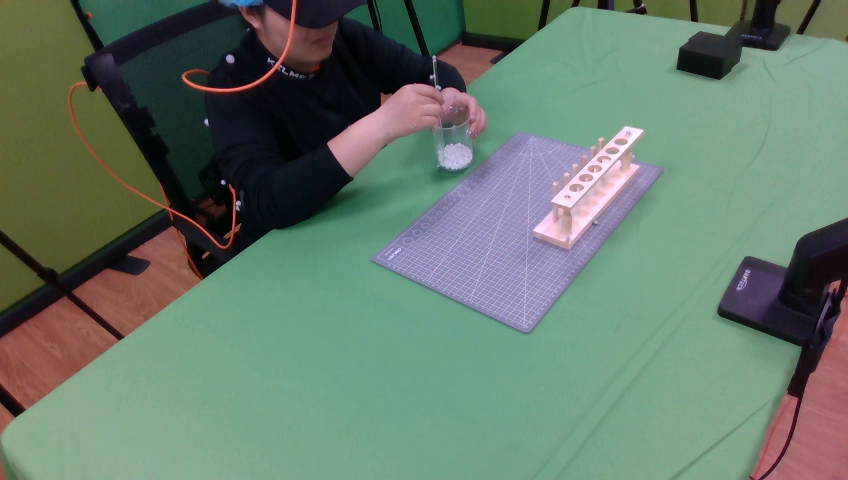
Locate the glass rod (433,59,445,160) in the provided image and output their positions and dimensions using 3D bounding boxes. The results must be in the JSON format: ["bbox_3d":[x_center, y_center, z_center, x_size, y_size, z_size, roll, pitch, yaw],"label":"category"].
[{"bbox_3d":[0.026,-0.226,1.078,0.008,0.200,0.008,-4,40,4],"label":"glass rod"}]

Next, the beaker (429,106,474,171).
[{"bbox_3d":[0.054,-0.187,1.119,0.073,0.101,0.084,7,45,18],"label":"beaker"}]

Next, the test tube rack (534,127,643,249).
[{"bbox_3d":[0.271,-0.094,0.990,0.066,0.085,0.243,23,50,34],"label":"test tube rack"}]
